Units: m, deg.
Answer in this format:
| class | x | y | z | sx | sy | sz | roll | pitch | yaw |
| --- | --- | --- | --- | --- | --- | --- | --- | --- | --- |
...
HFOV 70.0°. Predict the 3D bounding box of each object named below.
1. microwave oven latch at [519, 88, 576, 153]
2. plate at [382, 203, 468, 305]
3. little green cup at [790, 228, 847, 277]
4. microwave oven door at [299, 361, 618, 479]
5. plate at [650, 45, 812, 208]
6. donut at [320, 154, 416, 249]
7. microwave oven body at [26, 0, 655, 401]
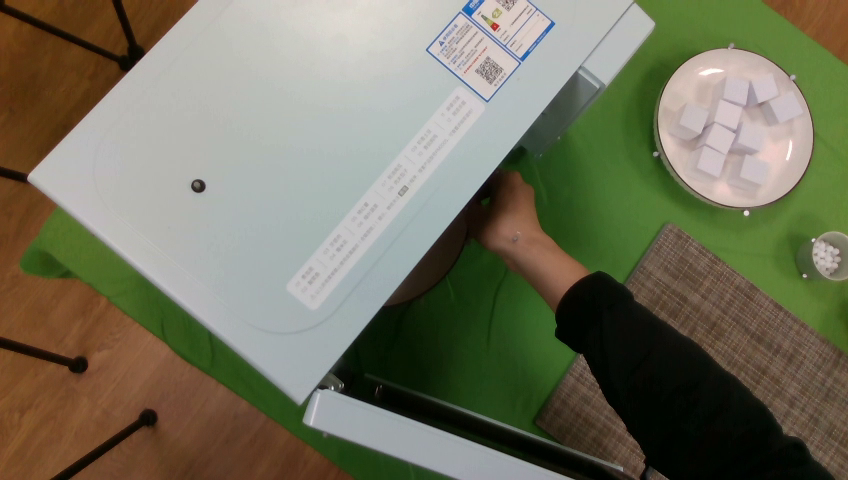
| class | x | y | z | sx | sy | sz | roll | pitch | yaw |
| --- | --- | --- | --- | --- | --- | --- | --- | --- | --- |
| microwave oven latch | 0.147 | -0.143 | 0.727 | 0.030 | 0.029 | 0.079 | 42 | 82 | 0 |
| plate | -0.059 | -0.035 | 0.636 | 0.209 | 0.038 | 0.208 | 0 | 86 | -3 |
| little green cup | 0.496 | 0.018 | 0.761 | 0.061 | 0.038 | 0.061 | 1 | 82 | -5 |
| microwave oven door | 0.065 | 0.198 | 0.577 | 0.356 | 0.244 | 0.039 | 20 | 81 | -3 |
| plate | 0.384 | -0.140 | 0.769 | 0.208 | 0.039 | 0.207 | 1 | 83 | -5 |
| donut | -0.058 | -0.039 | 0.626 | 0.099 | 0.048 | 0.099 | 0 | 89 | -5 |
| microwave oven body | -0.071 | -0.115 | 0.605 | 0.326 | 0.260 | 0.441 | 40 | 82 | 0 |
